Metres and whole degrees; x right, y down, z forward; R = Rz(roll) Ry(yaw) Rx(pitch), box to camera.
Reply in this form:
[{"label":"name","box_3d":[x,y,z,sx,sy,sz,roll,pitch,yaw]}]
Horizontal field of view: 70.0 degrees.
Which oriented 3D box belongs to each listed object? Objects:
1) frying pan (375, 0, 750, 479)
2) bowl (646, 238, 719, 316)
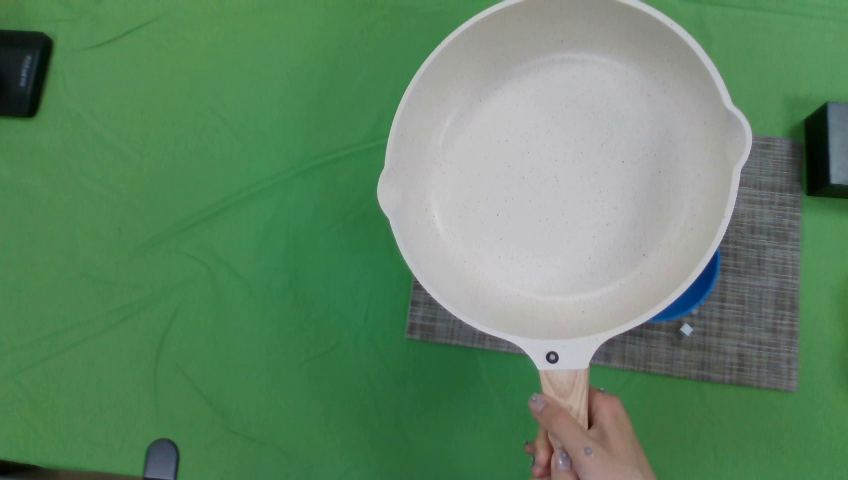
[{"label":"frying pan","box_3d":[0.110,0.040,0.505,0.306,0.103,0.485,-6,79,24]},{"label":"bowl","box_3d":[0.243,0.015,0.686,0.151,0.077,0.150,-1,79,4]}]
